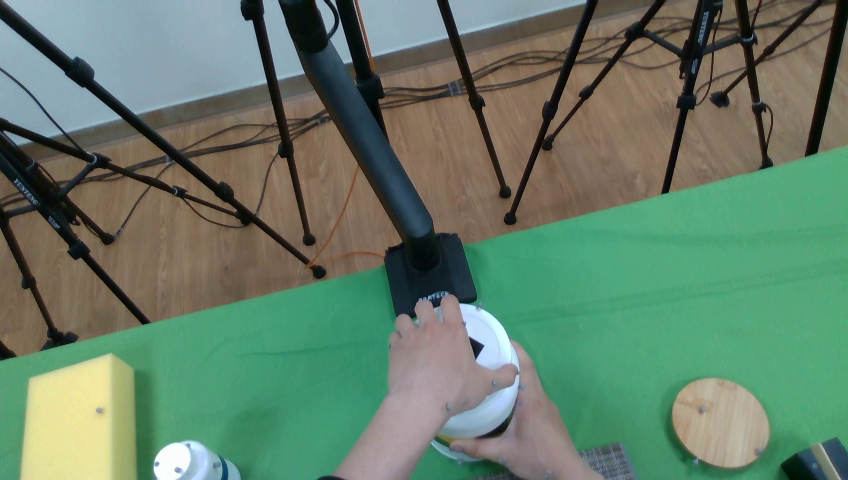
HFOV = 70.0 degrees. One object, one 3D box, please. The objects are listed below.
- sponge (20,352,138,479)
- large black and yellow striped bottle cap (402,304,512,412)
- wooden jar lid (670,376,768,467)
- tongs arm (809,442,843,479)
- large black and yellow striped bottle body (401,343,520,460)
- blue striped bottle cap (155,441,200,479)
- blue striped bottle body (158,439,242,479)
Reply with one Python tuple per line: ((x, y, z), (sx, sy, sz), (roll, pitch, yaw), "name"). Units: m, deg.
((-0.447, 0.264, 0.790), (0.118, 0.061, 0.204), (-18, 57, -4), "sponge")
((0.034, 0.120, 0.629), (0.115, 0.019, 0.114), (-4, 57, 6), "large black and yellow striped bottle cap")
((0.350, 0.217, 0.724), (0.108, 0.021, 0.107), (-4, 58, 7), "wooden jar lid")
((0.487, 0.369, 0.558), (0.051, 0.027, 0.381), (-17, 66, -5), "tongs arm")
((0.045, 0.168, 0.703), (0.130, 0.186, 0.129), (-4, 56, 6), "large black and yellow striped bottle body")
((-0.276, 0.248, 0.676), (0.044, 0.021, 0.044), (-4, 58, 6), "blue striped bottle cap")
((-0.268, 0.277, 0.718), (0.063, 0.122, 0.062), (-4, 57, 6), "blue striped bottle body")
